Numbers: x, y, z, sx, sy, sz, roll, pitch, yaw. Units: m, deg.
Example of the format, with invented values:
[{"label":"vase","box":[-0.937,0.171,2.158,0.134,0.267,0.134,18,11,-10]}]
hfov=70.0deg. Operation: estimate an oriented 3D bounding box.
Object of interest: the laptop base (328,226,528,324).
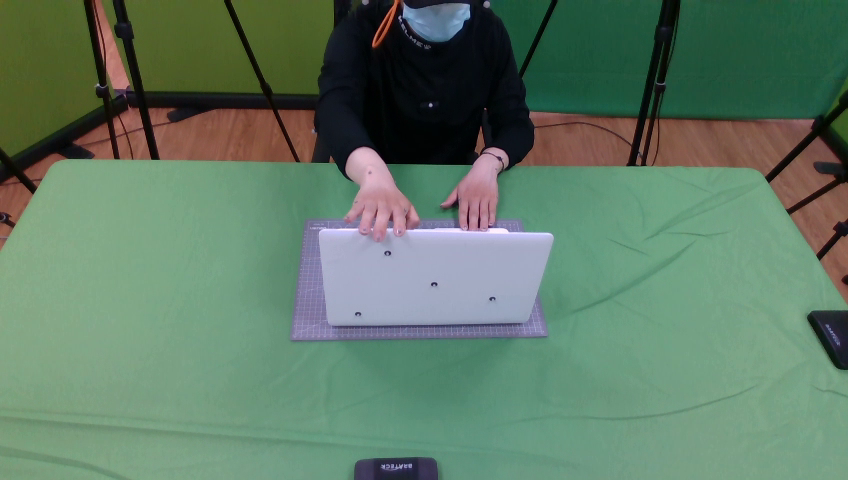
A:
[{"label":"laptop base","box":[0.005,0.061,1.137,0.355,0.023,0.234,0,43,-4]}]

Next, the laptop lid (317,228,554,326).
[{"label":"laptop lid","box":[0.015,0.066,0.967,0.357,0.243,0.013,1,46,-5]}]
